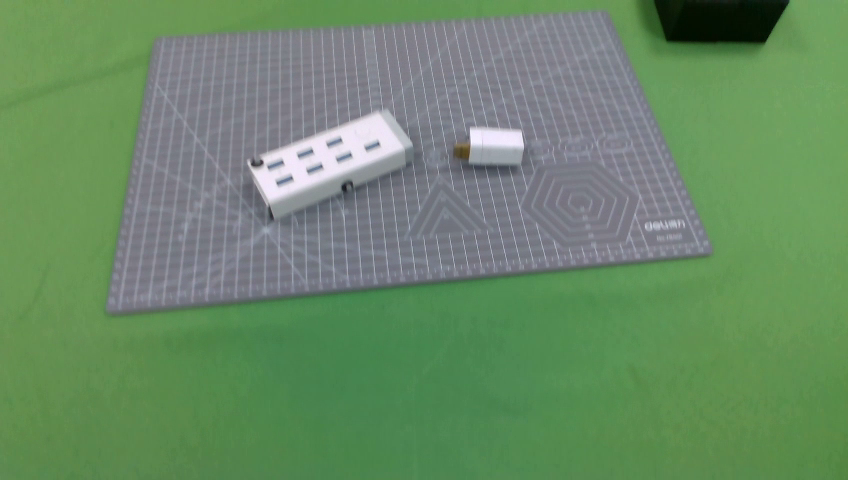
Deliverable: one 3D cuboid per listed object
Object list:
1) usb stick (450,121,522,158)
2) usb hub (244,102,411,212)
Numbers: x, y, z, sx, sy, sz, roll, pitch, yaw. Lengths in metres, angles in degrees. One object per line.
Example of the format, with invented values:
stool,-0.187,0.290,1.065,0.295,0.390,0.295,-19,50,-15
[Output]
usb stick,0.050,-0.083,0.501,0.059,0.022,0.027,0,47,-4
usb hub,-0.076,-0.069,0.488,0.125,0.025,0.049,-24,61,-16
